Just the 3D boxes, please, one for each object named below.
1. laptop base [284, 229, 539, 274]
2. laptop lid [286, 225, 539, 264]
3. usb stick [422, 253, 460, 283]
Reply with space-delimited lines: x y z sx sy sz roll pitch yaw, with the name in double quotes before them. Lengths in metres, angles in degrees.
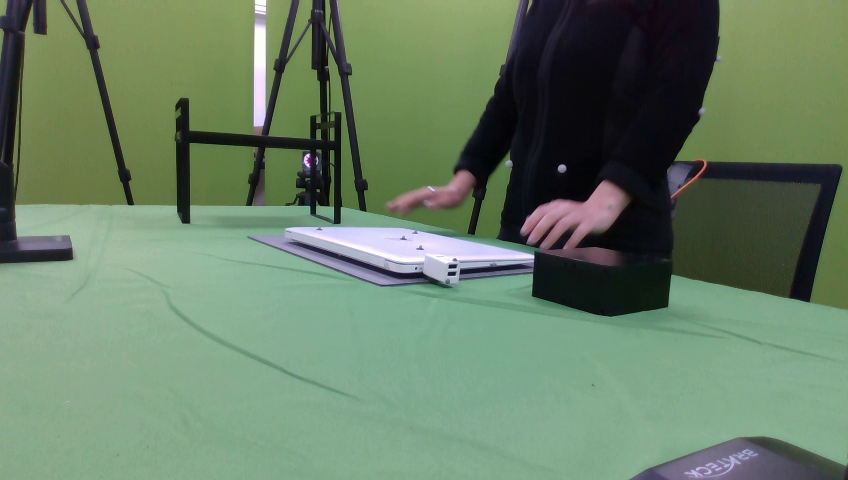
"laptop base" -0.034 0.013 0.898 0.237 0.023 0.352 1 7 -36
"laptop lid" -0.032 0.002 0.898 0.243 0.013 0.355 0 8 -34
"usb stick" 0.015 0.031 0.698 0.021 0.027 0.059 -2 9 -34
